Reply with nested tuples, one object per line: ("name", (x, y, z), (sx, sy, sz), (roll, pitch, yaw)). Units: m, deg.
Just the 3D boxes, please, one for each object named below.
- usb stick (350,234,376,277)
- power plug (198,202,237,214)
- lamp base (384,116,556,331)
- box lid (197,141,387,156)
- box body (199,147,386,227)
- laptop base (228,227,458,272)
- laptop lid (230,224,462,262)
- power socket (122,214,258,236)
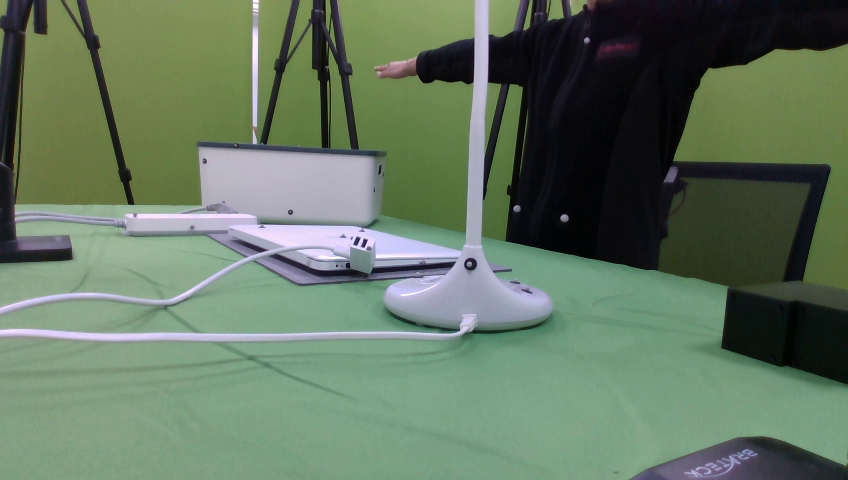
("usb stick", (-0.069, 0.020, 0.689), (0.027, 0.059, 0.021), (12, 53, 8))
("power plug", (-0.391, -0.046, 1.163), (0.072, 0.052, 0.035), (-12, 3, 27))
("lamp base", (0.046, -0.019, 0.545), (0.161, 0.180, 0.179), (2, 10, -4))
("box lid", (-0.275, -0.198, 1.325), (0.372, 0.015, 0.263), (3, 8, 1))
("box body", (-0.277, -0.124, 1.334), (0.364, 0.160, 0.254), (3, 7, 1))
("laptop base", (-0.122, 0.011, 0.889), (0.237, 0.023, 0.352), (2, 6, -35))
("laptop lid", (-0.119, 0.000, 0.889), (0.243, 0.013, 0.355), (1, 7, -33))
("power socket", (-0.399, -0.028, 1.049), (0.228, 0.032, 0.072), (-2, 7, -33))
